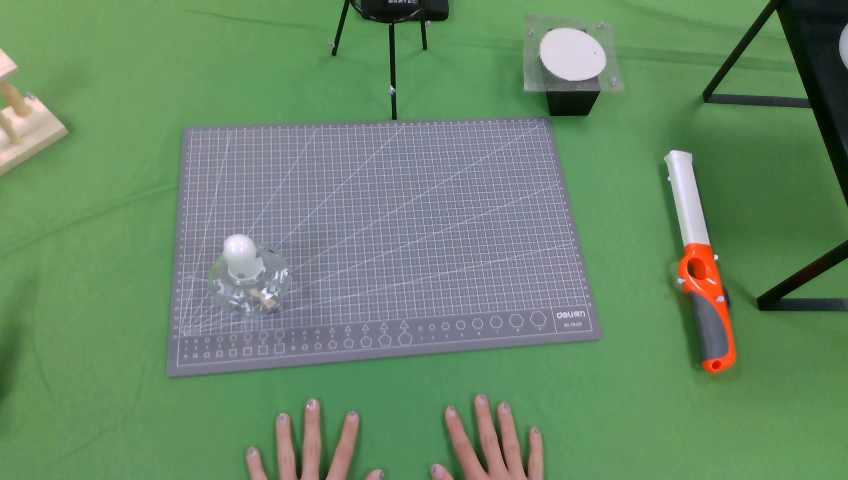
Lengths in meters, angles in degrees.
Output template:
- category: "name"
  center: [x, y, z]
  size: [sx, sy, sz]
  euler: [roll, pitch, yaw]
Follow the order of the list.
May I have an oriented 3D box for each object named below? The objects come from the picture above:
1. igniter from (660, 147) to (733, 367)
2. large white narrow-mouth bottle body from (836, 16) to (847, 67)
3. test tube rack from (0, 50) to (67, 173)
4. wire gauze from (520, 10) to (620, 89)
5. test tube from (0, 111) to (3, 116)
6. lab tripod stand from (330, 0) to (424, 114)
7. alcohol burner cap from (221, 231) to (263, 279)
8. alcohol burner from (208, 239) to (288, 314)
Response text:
- category: "igniter"
  center: [0.313, 0.012, 0.702]
  size: [0.057, 0.025, 0.274]
  euler: [7, 63, -15]
- category: "large white narrow-mouth bottle body"
  center: [0.480, -0.232, 0.543]
  size: [0.102, 0.196, 0.101]
  euler: [3, 64, -5]
- category: "test tube rack"
  center: [-0.515, -0.090, 0.627]
  size: [0.066, 0.086, 0.242]
  euler: [42, 67, 14]
- category: "wire gauze"
  center: [0.181, -0.239, 0.764]
  size: [0.121, 0.011, 0.124]
  euler: [4, 64, -4]
- category: "test tube"
  center: [-0.476, -0.171, 0.614]
  size: [0.017, 0.151, 0.017]
  euler: [1, 62, -2]
- category: "lab tripod stand"
  center: [-0.047, -0.249, 0.728]
  size: [0.149, 0.132, 0.147]
  euler: [3, 65, -6]
- category: "alcohol burner cap"
  center: [-0.169, 0.012, 0.558]
  size: [0.034, 0.048, 0.033]
  euler: [1, 59, -2]
- category: "alcohol burner"
  center: [-0.173, 0.027, 0.590]
  size: [0.078, 0.120, 0.077]
  euler: [3, 62, -6]
